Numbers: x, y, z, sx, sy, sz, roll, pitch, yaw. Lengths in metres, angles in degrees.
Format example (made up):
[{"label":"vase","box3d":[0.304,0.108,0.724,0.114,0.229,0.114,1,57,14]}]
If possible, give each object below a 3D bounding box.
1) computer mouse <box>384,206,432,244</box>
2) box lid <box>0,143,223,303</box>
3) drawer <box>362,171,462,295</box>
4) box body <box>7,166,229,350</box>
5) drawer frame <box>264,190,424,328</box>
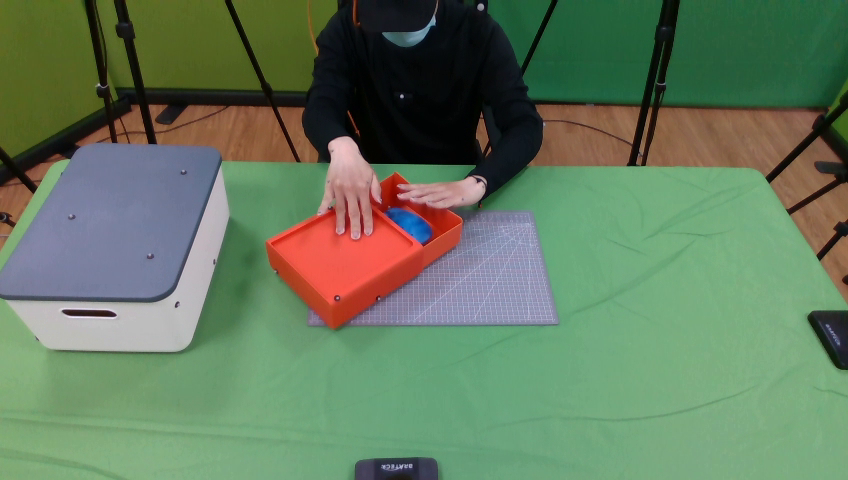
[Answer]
[{"label":"computer mouse","box3d":[-0.042,-0.030,1.199,0.116,0.041,0.063,33,55,31]},{"label":"box lid","box3d":[-0.499,-0.045,1.002,0.263,0.015,0.369,2,46,-3]},{"label":"drawer","box3d":[-0.068,-0.019,1.170,0.193,0.073,0.211,38,56,26]},{"label":"box body","box3d":[-0.502,0.008,1.054,0.254,0.161,0.361,1,46,-3]},{"label":"drawer frame","box3d":[-0.144,0.028,1.114,0.213,0.083,0.200,-34,57,-30]}]
